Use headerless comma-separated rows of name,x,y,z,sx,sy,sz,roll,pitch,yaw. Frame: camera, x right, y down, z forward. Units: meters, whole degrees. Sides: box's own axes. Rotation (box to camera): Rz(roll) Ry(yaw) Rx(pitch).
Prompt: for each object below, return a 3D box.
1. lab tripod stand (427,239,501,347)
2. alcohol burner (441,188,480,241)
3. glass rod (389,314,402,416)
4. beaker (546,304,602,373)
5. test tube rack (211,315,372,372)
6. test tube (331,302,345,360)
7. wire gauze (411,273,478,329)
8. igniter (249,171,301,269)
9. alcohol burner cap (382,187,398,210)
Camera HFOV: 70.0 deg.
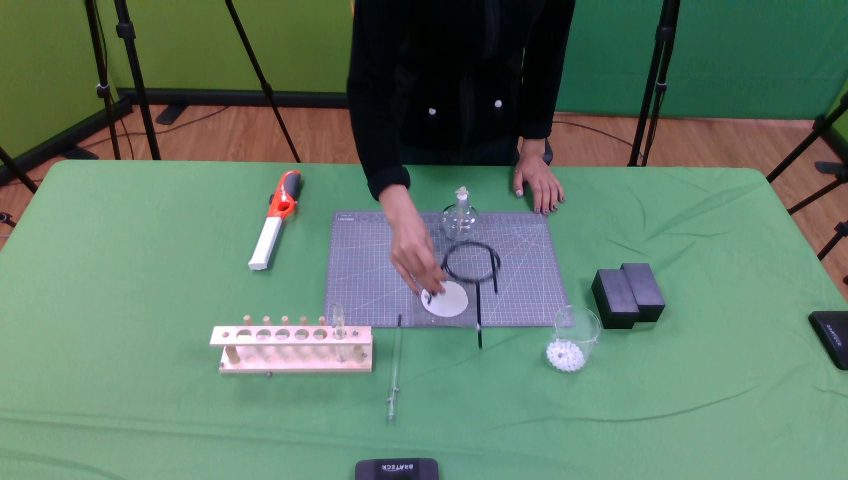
lab tripod stand,0.076,0.077,0.978,0.148,0.132,0.147,1,44,-1
alcohol burner,0.073,-0.055,1.189,0.078,0.120,0.077,1,48,-1
glass rod,-0.048,0.203,1.007,0.008,0.008,0.198,4,45,0
beaker,0.242,0.167,1.001,0.084,0.101,0.073,-31,55,-28
test tube rack,-0.208,0.164,0.982,0.242,0.085,0.066,1,46,-4
test tube,-0.132,0.144,0.938,0.017,0.151,0.017,2,49,-3
wire gauze,0.038,0.108,1.103,0.125,0.011,0.120,3,47,-3
igniter,-0.297,-0.049,1.221,0.057,0.025,0.275,-2,45,9
alcohol burner cap,-0.072,-0.090,1.266,0.034,0.048,0.033,3,47,-3
